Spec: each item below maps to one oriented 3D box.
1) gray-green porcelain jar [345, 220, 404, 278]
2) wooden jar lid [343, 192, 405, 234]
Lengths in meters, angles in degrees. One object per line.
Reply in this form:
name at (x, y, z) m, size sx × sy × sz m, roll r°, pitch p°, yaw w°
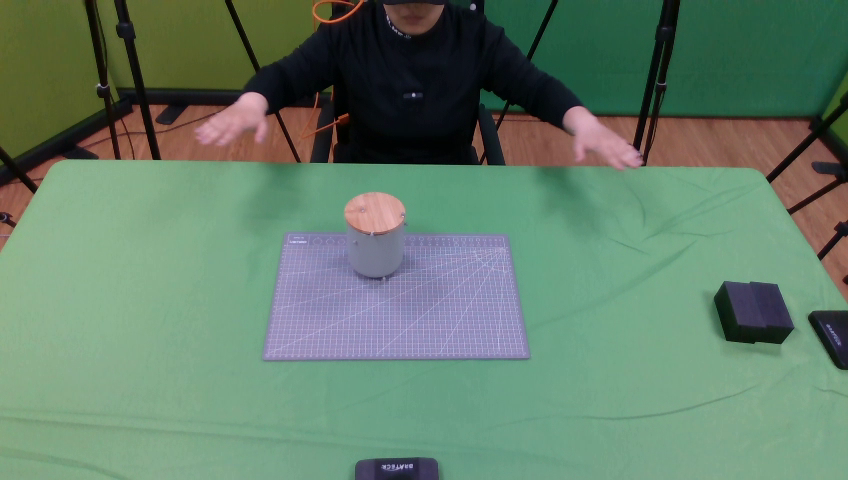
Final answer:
gray-green porcelain jar at (-0.091, -0.001, 1.117) m, size 0.106 × 0.127 × 0.105 m, roll 2°, pitch 46°, yaw -2°
wooden jar lid at (-0.088, -0.044, 1.072) m, size 0.108 × 0.021 × 0.107 m, roll 4°, pitch 45°, yaw -3°
